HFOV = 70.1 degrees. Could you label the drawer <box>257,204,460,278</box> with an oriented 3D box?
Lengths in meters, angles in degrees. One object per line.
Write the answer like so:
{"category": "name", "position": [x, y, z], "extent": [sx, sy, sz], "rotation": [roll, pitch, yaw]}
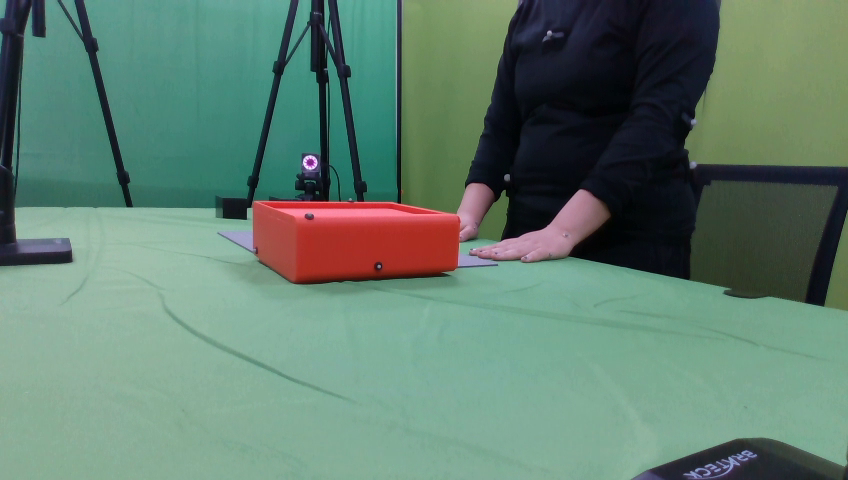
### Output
{"category": "drawer", "position": [-0.090, -0.004, 0.793], "extent": [0.213, 0.073, 0.193], "rotation": [-3, 10, -29]}

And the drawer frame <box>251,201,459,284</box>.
{"category": "drawer frame", "position": [-0.094, -0.005, 0.788], "extent": [0.215, 0.082, 0.200], "rotation": [-3, 10, -30]}

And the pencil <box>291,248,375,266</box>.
{"category": "pencil", "position": [-0.112, 0.020, 0.793], "extent": [0.012, 0.012, 0.195], "rotation": [6, 6, 24]}
